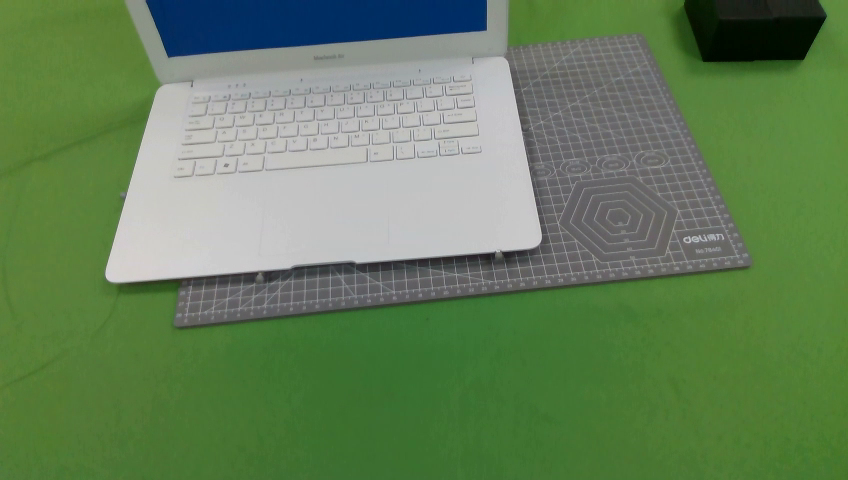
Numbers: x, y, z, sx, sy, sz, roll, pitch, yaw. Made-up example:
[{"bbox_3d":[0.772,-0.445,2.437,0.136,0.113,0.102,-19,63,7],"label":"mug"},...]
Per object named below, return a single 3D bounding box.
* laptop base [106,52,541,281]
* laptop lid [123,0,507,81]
[{"bbox_3d":[-0.087,-0.074,0.549,0.354,0.023,0.233,-5,58,1],"label":"laptop base"},{"bbox_3d":[-0.102,-0.254,0.531,0.357,0.244,0.013,-6,45,2],"label":"laptop lid"}]
